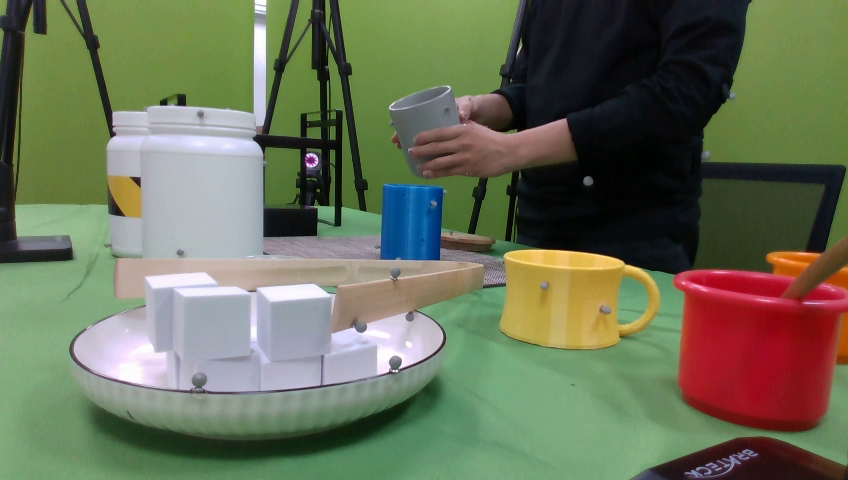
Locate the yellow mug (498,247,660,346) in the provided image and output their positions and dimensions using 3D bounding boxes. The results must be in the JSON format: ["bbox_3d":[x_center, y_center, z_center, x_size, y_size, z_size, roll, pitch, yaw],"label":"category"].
[{"bbox_3d":[0.130,0.045,0.508,0.131,0.064,0.100,4,7,6],"label":"yellow mug"}]

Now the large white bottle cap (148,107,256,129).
[{"bbox_3d":[-0.250,-0.137,0.686,0.115,0.018,0.115,2,8,0],"label":"large white bottle cap"}]

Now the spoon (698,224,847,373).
[{"bbox_3d":[0.195,0.032,0.323,0.041,0.021,0.194,1,-36,2],"label":"spoon"}]

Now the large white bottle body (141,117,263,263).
[{"bbox_3d":[-0.254,-0.054,0.697,0.131,0.184,0.130,2,7,0],"label":"large white bottle body"}]

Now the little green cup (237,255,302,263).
[{"bbox_3d":[-0.150,0.038,0.590,0.061,0.038,0.061,3,6,0],"label":"little green cup"}]

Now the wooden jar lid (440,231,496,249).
[{"bbox_3d":[0.066,0.000,1.011,0.108,0.020,0.108,6,7,0],"label":"wooden jar lid"}]

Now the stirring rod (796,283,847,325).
[{"bbox_3d":[0.346,0.019,0.460,0.014,0.176,0.006,-16,59,-26],"label":"stirring rod"}]

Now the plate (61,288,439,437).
[{"bbox_3d":[-0.095,0.069,0.362,0.208,0.039,0.207,3,7,0],"label":"plate"}]

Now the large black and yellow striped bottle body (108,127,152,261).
[{"bbox_3d":[-0.350,-0.071,0.812,0.131,0.184,0.130,2,7,0],"label":"large black and yellow striped bottle body"}]

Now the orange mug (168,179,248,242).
[{"bbox_3d":[-0.351,-0.050,0.986,0.126,0.101,0.083,-3,8,-9],"label":"orange mug"}]

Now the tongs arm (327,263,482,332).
[{"bbox_3d":[-0.003,0.036,0.493,0.050,0.026,0.386,1,0,19],"label":"tongs arm"}]

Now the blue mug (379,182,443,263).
[{"bbox_3d":[-0.019,-0.026,0.833,0.082,0.106,0.116,1,7,-7],"label":"blue mug"}]

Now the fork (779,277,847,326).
[{"bbox_3d":[0.335,0.018,0.443,0.028,0.018,0.207,-1,-36,-20],"label":"fork"}]

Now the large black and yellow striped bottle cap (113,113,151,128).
[{"bbox_3d":[-0.348,-0.154,0.800,0.115,0.019,0.115,2,6,0],"label":"large black and yellow striped bottle cap"}]

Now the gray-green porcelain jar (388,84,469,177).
[{"bbox_3d":[0.011,-0.173,0.979,0.106,0.126,0.105,-16,24,8],"label":"gray-green porcelain jar"}]

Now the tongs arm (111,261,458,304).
[{"bbox_3d":[-0.080,0.032,0.527,0.028,0.027,0.389,-3,-3,33],"label":"tongs arm"}]
